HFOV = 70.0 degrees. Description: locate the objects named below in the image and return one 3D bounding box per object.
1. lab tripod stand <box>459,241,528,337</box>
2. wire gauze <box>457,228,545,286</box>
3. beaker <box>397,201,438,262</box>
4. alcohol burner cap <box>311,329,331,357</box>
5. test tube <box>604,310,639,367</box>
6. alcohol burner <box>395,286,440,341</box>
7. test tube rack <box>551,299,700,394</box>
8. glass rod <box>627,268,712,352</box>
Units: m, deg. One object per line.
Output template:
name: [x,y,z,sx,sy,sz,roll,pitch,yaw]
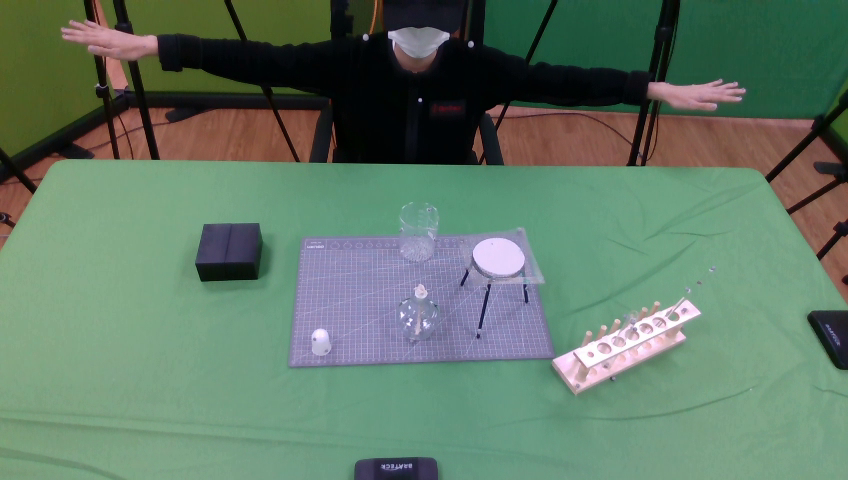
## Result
lab tripod stand: [0.122,0.075,1.054,0.148,0.132,0.147,3,44,-3]
wire gauze: [0.126,0.028,1.006,0.125,0.011,0.120,-4,46,-9]
beaker: [-0.012,-0.011,1.152,0.083,0.101,0.074,35,53,25]
alcohol burner cap: [-0.173,0.168,1.005,0.034,0.048,0.033,2,46,-2]
test tube: [0.310,0.158,0.957,0.017,0.151,0.017,1,49,-1]
alcohol burner: [-0.010,0.116,1.018,0.078,0.119,0.077,3,47,-3]
test tube rack: [0.339,0.166,1.021,0.242,0.085,0.066,-19,50,-21]
glass rod: [0.399,0.117,0.995,0.008,0.200,0.008,26,29,-15]
